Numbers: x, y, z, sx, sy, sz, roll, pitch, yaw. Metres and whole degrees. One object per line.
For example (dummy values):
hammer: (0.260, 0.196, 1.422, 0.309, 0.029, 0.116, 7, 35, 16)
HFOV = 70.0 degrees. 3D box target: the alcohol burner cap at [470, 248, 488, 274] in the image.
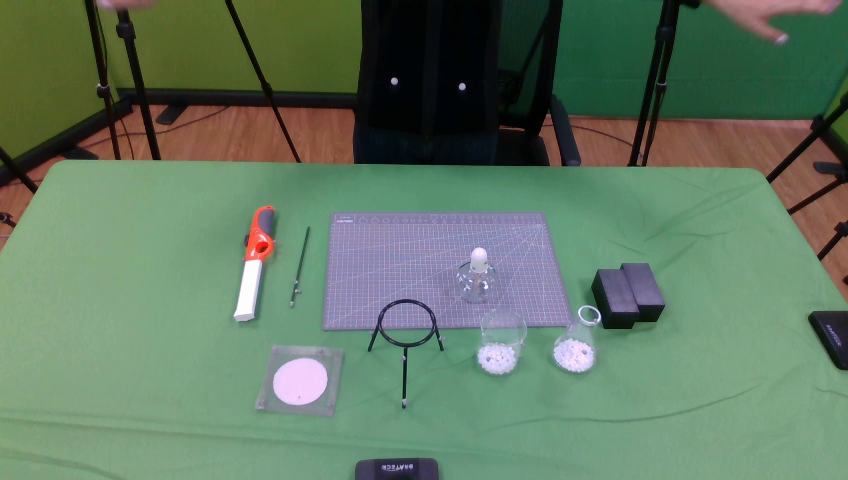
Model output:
alcohol burner cap: (0.095, 0.034, 1.057, 0.034, 0.048, 0.033, -3, 53, 4)

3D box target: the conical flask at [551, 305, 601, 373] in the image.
conical flask: (0.257, 0.158, 0.998, 0.075, 0.122, 0.075, 2, 46, -2)

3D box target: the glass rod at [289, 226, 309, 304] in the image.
glass rod: (-0.235, 0.043, 1.150, 0.008, 0.008, 0.198, 3, 46, -1)

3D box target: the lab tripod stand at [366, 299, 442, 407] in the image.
lab tripod stand: (-0.028, 0.165, 0.960, 0.148, 0.132, 0.147, 3, 44, -2)

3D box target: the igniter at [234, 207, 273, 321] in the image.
igniter: (-0.318, 0.035, 1.137, 0.057, 0.025, 0.274, -7, 46, 3)

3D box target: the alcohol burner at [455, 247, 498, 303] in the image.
alcohol burner: (0.095, 0.057, 1.085, 0.078, 0.120, 0.077, 1, 47, -1)

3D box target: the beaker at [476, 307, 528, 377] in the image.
beaker: (0.122, 0.171, 0.991, 0.084, 0.101, 0.073, -34, 56, -30)

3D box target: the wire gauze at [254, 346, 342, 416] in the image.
wire gauze: (-0.201, 0.223, 0.978, 0.125, 0.011, 0.121, 4, 45, 1)
